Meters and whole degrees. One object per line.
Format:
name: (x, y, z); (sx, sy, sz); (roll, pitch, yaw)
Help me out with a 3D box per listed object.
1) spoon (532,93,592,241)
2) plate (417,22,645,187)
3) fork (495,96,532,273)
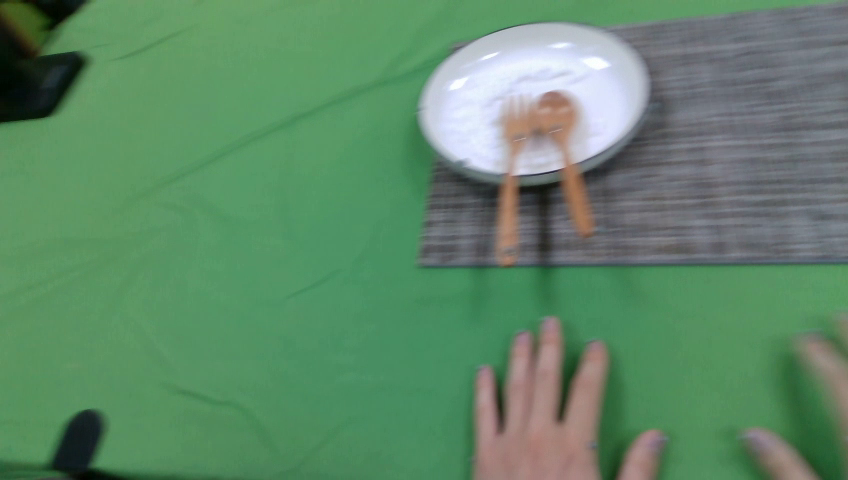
spoon: (0.116, -0.068, 0.502); (0.041, 0.022, 0.192); (-6, 40, 9)
plate: (0.098, -0.126, 0.571); (0.207, 0.039, 0.205); (-8, 53, 11)
fork: (0.073, -0.056, 0.508); (0.028, 0.019, 0.205); (-1, 47, 14)
